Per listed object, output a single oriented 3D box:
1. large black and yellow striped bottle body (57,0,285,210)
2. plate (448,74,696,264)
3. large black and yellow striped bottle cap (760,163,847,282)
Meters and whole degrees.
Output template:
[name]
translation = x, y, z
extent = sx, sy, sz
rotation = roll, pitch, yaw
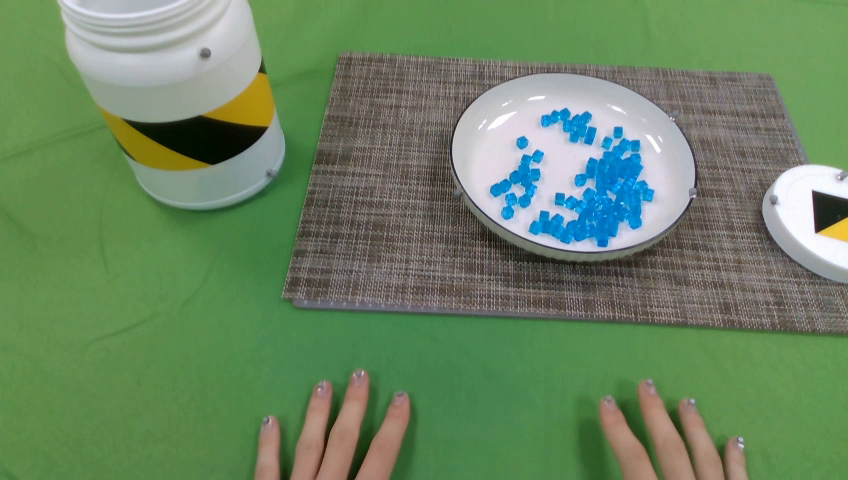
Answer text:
[large black and yellow striped bottle body]
translation = -0.191, -0.127, 0.479
extent = 0.131, 0.185, 0.129
rotation = 0, 55, 0
[plate]
translation = 0.124, -0.063, 0.525
extent = 0.208, 0.039, 0.205
rotation = 1, 55, -1
[large black and yellow striped bottle cap]
translation = 0.345, -0.017, 0.510
extent = 0.115, 0.019, 0.114
rotation = 3, 56, -4
